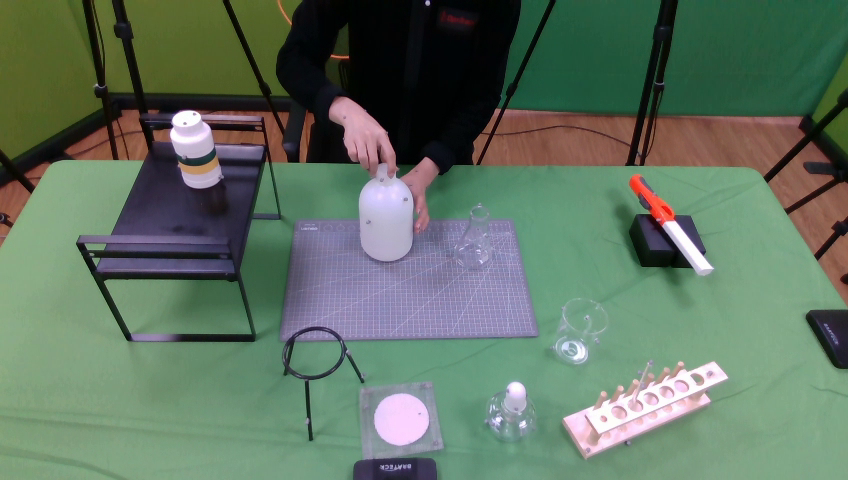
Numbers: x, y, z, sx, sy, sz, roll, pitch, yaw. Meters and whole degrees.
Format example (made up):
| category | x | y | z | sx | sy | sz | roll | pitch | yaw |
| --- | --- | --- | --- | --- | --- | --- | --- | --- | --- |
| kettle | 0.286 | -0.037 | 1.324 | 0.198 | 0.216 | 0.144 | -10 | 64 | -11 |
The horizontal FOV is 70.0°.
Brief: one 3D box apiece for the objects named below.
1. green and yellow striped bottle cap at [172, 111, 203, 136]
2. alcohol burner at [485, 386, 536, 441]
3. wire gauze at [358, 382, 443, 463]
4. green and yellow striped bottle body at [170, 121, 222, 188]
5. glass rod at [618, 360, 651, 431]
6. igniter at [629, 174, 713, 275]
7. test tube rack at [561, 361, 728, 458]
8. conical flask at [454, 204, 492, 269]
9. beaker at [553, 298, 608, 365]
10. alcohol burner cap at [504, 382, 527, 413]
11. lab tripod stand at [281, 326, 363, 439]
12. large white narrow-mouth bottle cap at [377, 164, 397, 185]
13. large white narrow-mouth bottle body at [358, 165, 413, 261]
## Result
| category | x | y | z | sx | sy | sz | roll | pitch | yaw |
| --- | --- | --- | --- | --- | --- | --- | --- | --- | --- |
| green and yellow striped bottle cap | -0.374 | -0.185 | 0.957 | 0.045 | 0.020 | 0.045 | 3 | 45 | -3 |
| alcohol burner | 0.131 | 0.249 | 0.904 | 0.078 | 0.120 | 0.077 | 1 | 48 | -1 |
| wire gauze | -0.039 | 0.276 | 0.937 | 0.121 | 0.011 | 0.124 | -4 | 47 | -7 |
| green and yellow striped bottle body | -0.375 | -0.149 | 0.995 | 0.063 | 0.120 | 0.063 | 2 | 46 | -2 |
| glass rod | 0.298 | 0.226 | 0.865 | 0.008 | 0.201 | 0.008 | -1 | 48 | 2 |
| igniter | 0.481 | -0.040 | 1.202 | 0.057 | 0.025 | 0.274 | -2 | 46 | -21 |
| test tube rack | 0.341 | 0.248 | 0.940 | 0.243 | 0.085 | 0.066 | -15 | 49 | -18 |
| conical flask | 0.097 | -0.009 | 1.140 | 0.075 | 0.122 | 0.075 | 2 | 46 | -2 |
| beaker | 0.260 | 0.154 | 1.015 | 0.073 | 0.101 | 0.084 | 37 | 54 | 27 |
| alcohol burner cap | 0.133 | 0.225 | 0.877 | 0.034 | 0.048 | 0.033 | -4 | 47 | 5 |
| lab tripod stand | -0.166 | 0.203 | 0.913 | 0.148 | 0.132 | 0.147 | 1 | 47 | -1 |
| large white narrow-mouth bottle cap | -0.065 | -0.115 | 1.060 | 0.038 | 0.024 | 0.037 | 3 | 47 | -3 |
| large white narrow-mouth bottle body | -0.072 | -0.057 | 1.123 | 0.102 | 0.195 | 0.101 | 3 | 47 | -3 |
